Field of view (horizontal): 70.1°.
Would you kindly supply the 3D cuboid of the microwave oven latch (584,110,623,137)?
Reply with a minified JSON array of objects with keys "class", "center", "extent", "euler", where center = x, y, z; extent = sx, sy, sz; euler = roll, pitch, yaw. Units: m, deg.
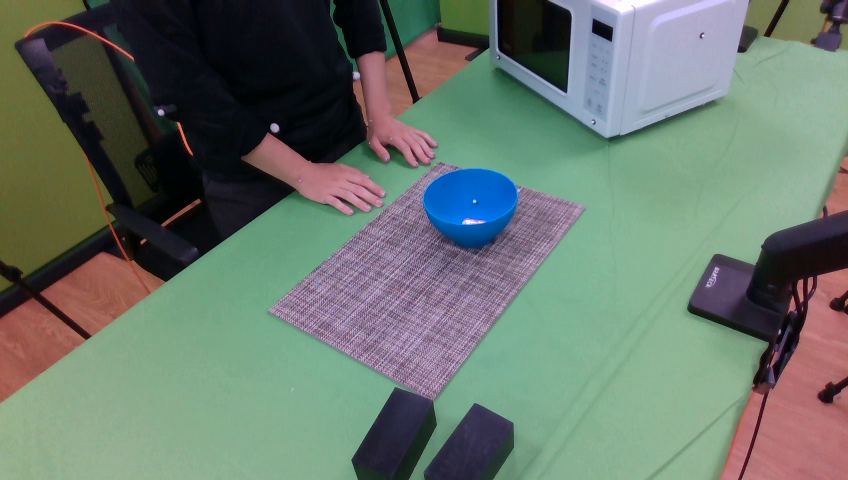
[{"class":"microwave oven latch","center":[0.337,-0.222,1.142],"extent":[0.030,0.029,0.078],"euler":[-21,42,-14]}]

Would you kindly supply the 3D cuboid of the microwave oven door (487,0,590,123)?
[{"class":"microwave oven door","center":[0.232,-0.420,1.231],"extent":[0.039,0.245,0.352],"euler":[-22,43,-16]}]

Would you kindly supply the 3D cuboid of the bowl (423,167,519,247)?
[{"class":"bowl","center":[0.075,-0.041,0.959],"extent":[0.151,0.077,0.150],"euler":[-4,40,4]}]

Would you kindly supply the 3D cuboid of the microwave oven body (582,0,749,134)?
[{"class":"microwave oven body","center":[0.382,-0.445,1.246],"extent":[0.327,0.261,0.437],"euler":[-22,42,-16]}]
